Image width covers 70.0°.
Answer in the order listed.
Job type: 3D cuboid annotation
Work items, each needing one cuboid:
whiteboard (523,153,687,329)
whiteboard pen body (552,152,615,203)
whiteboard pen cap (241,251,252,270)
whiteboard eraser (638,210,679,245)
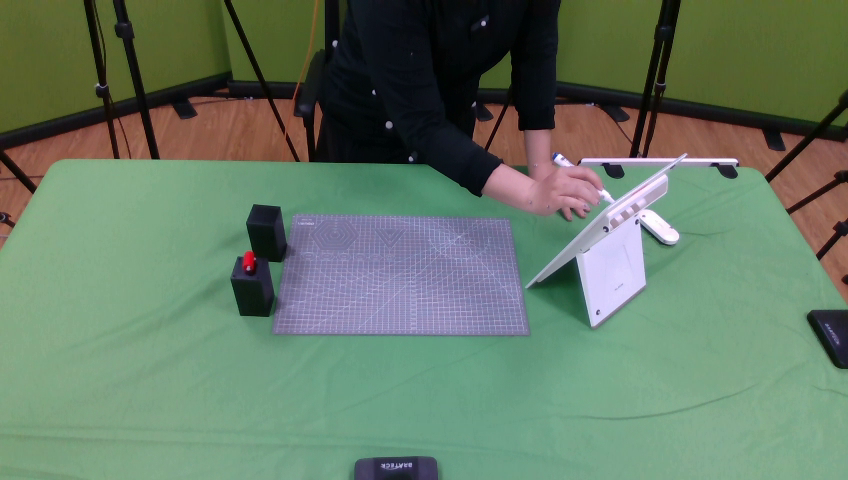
[{"bbox_3d":[0.346,0.025,1.046,0.217,0.306,0.143,-30,74,-29],"label":"whiteboard"},{"bbox_3d":[0.274,-0.101,1.027,0.140,0.017,0.017,41,54,11],"label":"whiteboard pen body"},{"bbox_3d":[-0.293,0.033,1.006,0.017,0.017,0.032,-3,44,-7],"label":"whiteboard pen cap"},{"bbox_3d":[0.486,-0.026,1.260,0.041,0.019,0.100,-20,50,-20],"label":"whiteboard eraser"}]
